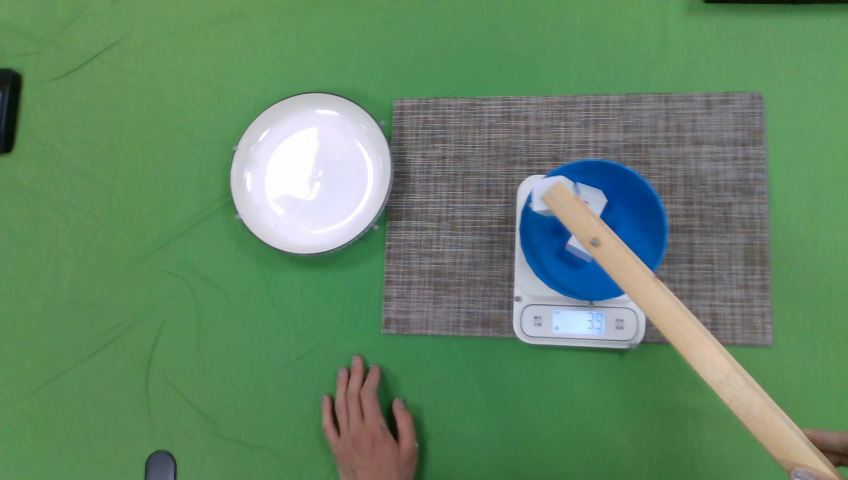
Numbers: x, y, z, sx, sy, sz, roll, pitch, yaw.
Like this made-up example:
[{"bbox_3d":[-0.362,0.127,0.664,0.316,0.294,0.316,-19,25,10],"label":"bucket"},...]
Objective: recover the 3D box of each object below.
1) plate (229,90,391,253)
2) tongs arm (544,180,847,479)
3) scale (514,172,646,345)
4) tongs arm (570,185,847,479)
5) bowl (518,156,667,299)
[{"bbox_3d":[-0.141,-0.084,0.765,0.207,0.039,0.207,-1,82,7],"label":"plate"},{"bbox_3d":[0.229,0.091,0.492,0.028,0.028,0.384,-43,67,13],"label":"tongs arm"},{"bbox_3d":[0.182,0.020,0.707,0.148,0.032,0.200,1,82,8],"label":"scale"},{"bbox_3d":[0.241,0.094,0.512,0.026,0.051,0.382,-45,71,16],"label":"tongs arm"},{"bbox_3d":[0.176,-0.008,0.658,0.151,0.077,0.151,-1,82,6],"label":"bowl"}]
